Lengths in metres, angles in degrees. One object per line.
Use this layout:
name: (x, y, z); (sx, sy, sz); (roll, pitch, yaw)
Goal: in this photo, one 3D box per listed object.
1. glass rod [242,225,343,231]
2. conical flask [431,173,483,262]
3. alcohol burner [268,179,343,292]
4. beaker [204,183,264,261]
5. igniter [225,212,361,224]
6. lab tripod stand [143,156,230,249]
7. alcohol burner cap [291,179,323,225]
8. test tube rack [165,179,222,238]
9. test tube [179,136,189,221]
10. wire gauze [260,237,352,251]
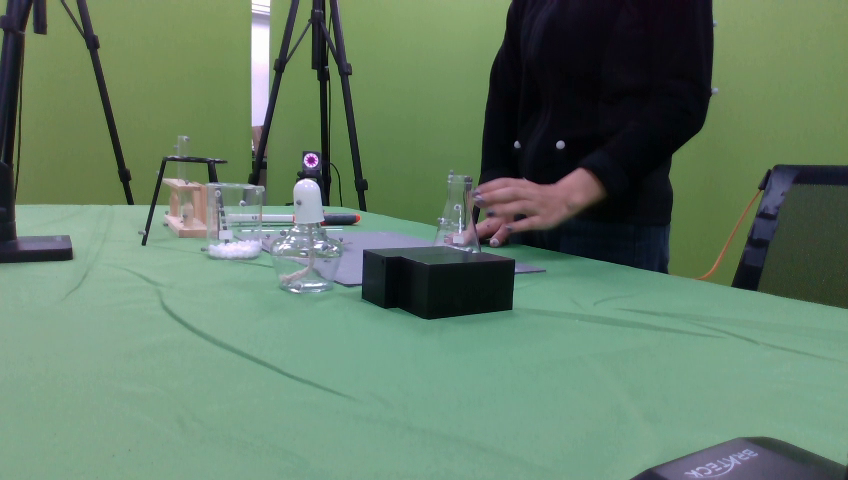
glass rod: (-0.246, -0.024, 1.155); (0.201, 0.008, 0.008); (-3, 8, -32)
conical flask: (0.049, -0.033, 0.857); (0.075, 0.122, 0.075); (2, 7, 0)
alcohol burner: (-0.124, -0.005, 0.637); (0.078, 0.119, 0.078); (4, 8, 0)
beaker: (-0.254, -0.026, 0.817); (0.073, 0.100, 0.084); (9, 9, 39)
igniter: (-0.262, -0.045, 1.240); (0.278, 0.025, 0.057); (-2, -1, -31)
lab tripod stand: (-0.338, -0.058, 0.908); (0.148, 0.131, 0.148); (4, 7, 0)
alcohol burner cap: (-0.124, -0.040, 0.632); (0.034, 0.048, 0.034); (-3, 10, 1)
test tube rack: (-0.423, -0.062, 1.098); (0.067, 0.085, 0.241); (-2, 9, -28)
test tube: (-0.425, -0.108, 1.070); (0.017, 0.150, 0.017); (4, 9, 0)
wire gauze: (-0.184, 0.004, 0.938); (0.122, 0.011, 0.124); (-1, 5, -24)
